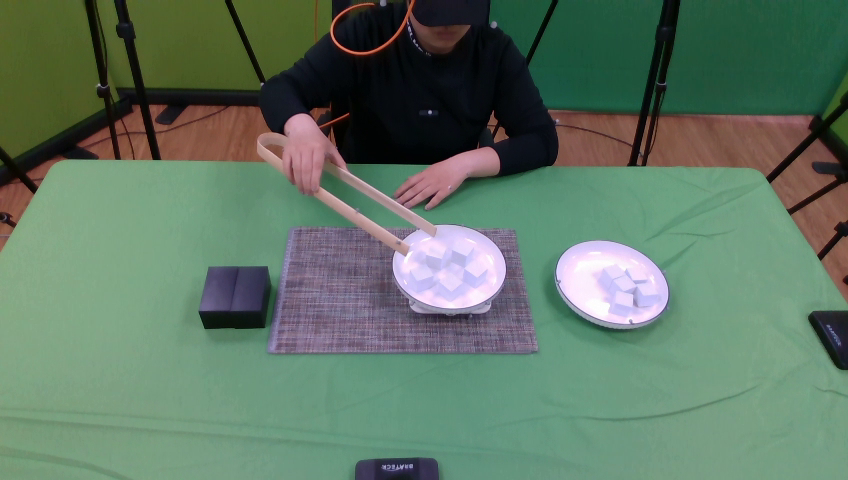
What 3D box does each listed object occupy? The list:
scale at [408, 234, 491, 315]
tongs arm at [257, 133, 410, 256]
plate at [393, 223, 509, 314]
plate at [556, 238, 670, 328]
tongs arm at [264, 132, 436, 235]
[{"bbox_3d":[0.045,0.055,1.135,0.149,0.032,0.199,1,46,-3],"label":"scale"},{"bbox_3d":[-0.168,-0.088,1.081,0.383,0.026,0.050,32,44,19],"label":"tongs arm"},{"bbox_3d":[0.048,0.053,1.091,0.208,0.039,0.206,1,46,-1],"label":"plate"},{"bbox_3d":[0.347,0.083,1.130,0.209,0.038,0.208,2,47,-2],"label":"plate"},{"bbox_3d":[-0.141,-0.108,1.113,0.386,0.028,0.028,30,47,17],"label":"tongs arm"}]
